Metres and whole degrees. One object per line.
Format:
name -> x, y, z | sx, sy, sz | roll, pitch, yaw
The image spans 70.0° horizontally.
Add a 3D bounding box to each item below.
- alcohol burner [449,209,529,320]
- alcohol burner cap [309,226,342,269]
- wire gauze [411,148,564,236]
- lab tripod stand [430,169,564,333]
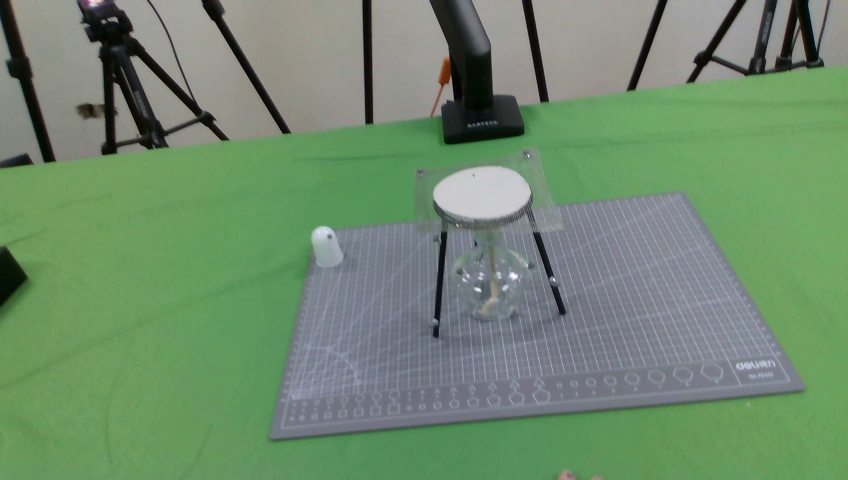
alcohol burner -> 0.062, 0.020, 0.583 | 0.078, 0.120, 0.077 | -4, 38, 3
alcohol burner cap -> -0.114, 0.005, 0.694 | 0.034, 0.048, 0.033 | -5, 39, 4
wire gauze -> 0.051, -0.043, 0.537 | 0.125, 0.011, 0.120 | -5, 38, 2
lab tripod stand -> 0.062, 0.010, 0.579 | 0.148, 0.133, 0.147 | -4, 37, 4
